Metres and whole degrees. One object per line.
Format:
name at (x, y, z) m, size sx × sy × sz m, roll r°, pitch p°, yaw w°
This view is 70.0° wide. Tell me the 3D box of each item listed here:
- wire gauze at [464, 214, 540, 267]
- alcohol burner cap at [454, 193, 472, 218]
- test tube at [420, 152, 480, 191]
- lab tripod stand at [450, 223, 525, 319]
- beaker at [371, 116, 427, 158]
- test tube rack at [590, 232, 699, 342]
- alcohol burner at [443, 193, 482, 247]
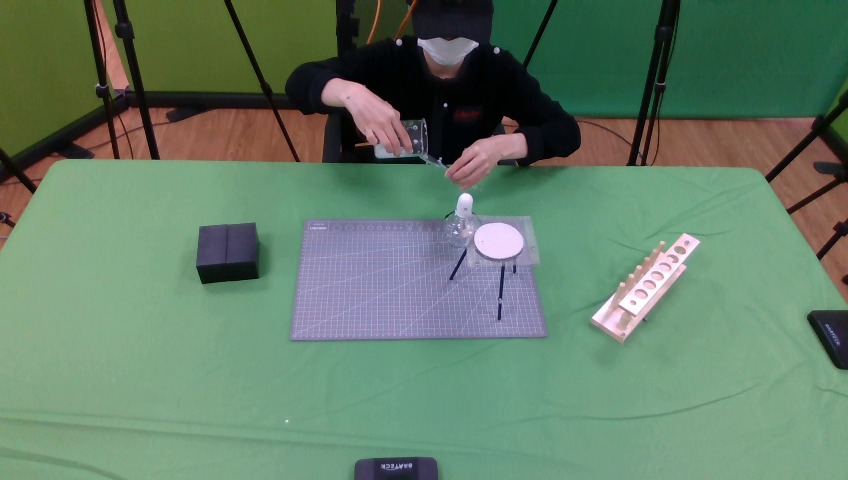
wire gauze at (0.131, -0.002, 1.034) m, size 0.121 × 0.011 × 0.124 m, roll 1°, pitch 45°, yaw -2°
alcohol burner cap at (0.076, -0.068, 1.151) m, size 0.034 × 0.048 × 0.033 m, roll 4°, pitch 47°, yaw -4°
test tube at (0.055, -0.138, 1.223) m, size 0.151 × 0.017 × 0.017 m, roll 27°, pitch 39°, yaw -28°
lab tripod stand at (0.120, 0.046, 1.080) m, size 0.148 × 0.132 × 0.147 m, roll 1°, pitch 47°, yaw -1°
beaker at (-0.048, -0.192, 1.158) m, size 0.100 × 0.084 × 0.073 m, roll -5°, pitch 39°, yaw -7°
test tube rack at (0.407, 0.074, 1.112) m, size 0.066 × 0.085 × 0.242 m, roll 35°, pitch 53°, yaw 26°
alcohol burner at (0.075, -0.044, 1.177) m, size 0.078 × 0.120 × 0.077 m, roll 2°, pitch 45°, yaw -1°
